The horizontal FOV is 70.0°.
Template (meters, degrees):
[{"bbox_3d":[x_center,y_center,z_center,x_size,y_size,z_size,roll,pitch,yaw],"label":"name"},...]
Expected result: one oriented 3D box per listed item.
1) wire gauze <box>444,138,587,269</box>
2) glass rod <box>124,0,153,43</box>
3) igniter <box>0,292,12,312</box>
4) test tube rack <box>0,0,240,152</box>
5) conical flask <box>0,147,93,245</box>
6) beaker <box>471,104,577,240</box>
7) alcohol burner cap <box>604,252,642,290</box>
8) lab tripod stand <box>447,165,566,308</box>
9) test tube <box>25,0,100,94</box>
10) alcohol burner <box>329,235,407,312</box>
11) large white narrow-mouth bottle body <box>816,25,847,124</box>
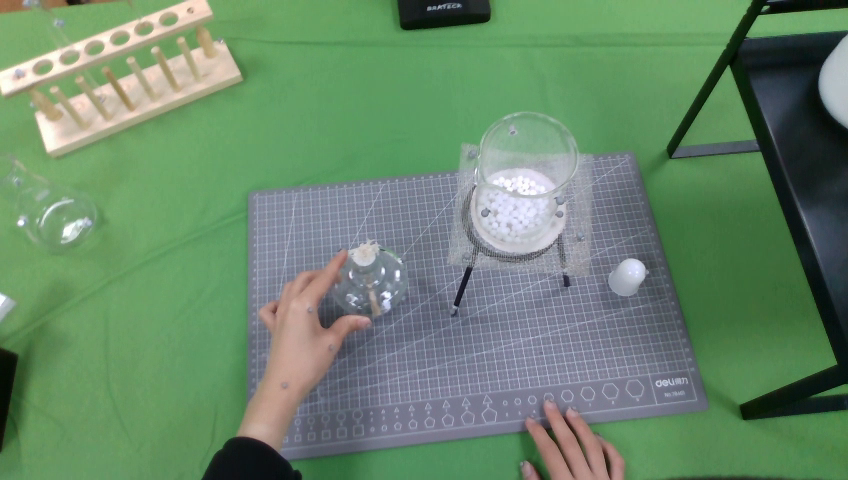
[{"bbox_3d":[0.084,-0.034,0.536,0.121,0.011,0.124,7,65,1],"label":"wire gauze"},{"bbox_3d":[-0.329,-0.265,0.669,0.008,0.201,0.008,-2,58,3],"label":"glass rod"},{"bbox_3d":[-0.475,0.162,0.540,0.057,0.025,0.275,20,67,19],"label":"igniter"},{"bbox_3d":[-0.354,-0.199,0.713,0.242,0.086,0.066,-26,68,-10],"label":"test tube rack"},{"bbox_3d":[-0.410,-0.050,0.630,0.075,0.123,0.075,0,66,1],"label":"conical flask"},{"bbox_3d":[0.073,-0.048,0.490,0.084,0.101,0.073,-28,70,-11],"label":"beaker"},{"bbox_3d":[0.208,0.029,0.629,0.034,0.048,0.033,0,67,1],"label":"alcohol burner cap"},{"bbox_3d":[0.079,-0.002,0.594,0.148,0.132,0.147,0,65,0],"label":"lab tripod stand"},{"bbox_3d":[-0.398,-0.217,0.667,0.017,0.151,0.017,0,60,0],"label":"test tube"},{"bbox_3d":[-0.056,0.027,0.595,0.078,0.120,0.077,0,65,0],"label":"alcohol burner"},{"bbox_3d":[0.382,-0.167,0.436,0.102,0.196,0.101,-1,66,2],"label":"large white narrow-mouth bottle body"}]
